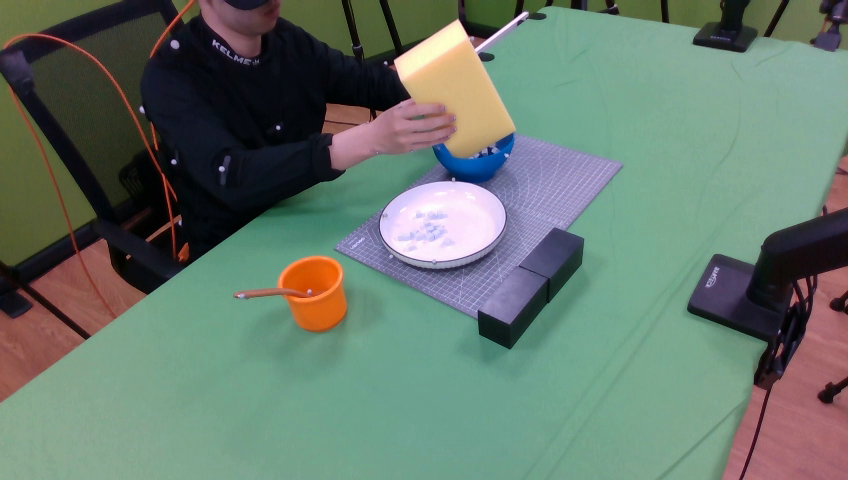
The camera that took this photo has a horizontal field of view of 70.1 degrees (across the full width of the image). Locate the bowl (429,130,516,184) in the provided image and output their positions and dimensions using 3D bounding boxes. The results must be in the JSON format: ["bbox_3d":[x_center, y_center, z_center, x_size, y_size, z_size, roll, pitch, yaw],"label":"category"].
[{"bbox_3d":[0.089,-0.154,1.089,0.151,0.077,0.150,-4,40,4],"label":"bowl"}]

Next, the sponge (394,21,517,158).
[{"bbox_3d":[0.055,-0.233,0.985,0.118,0.208,0.060,-28,49,12],"label":"sponge"}]

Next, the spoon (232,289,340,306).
[{"bbox_3d":[-0.181,0.074,0.811,0.041,0.195,0.021,16,90,31],"label":"spoon"}]

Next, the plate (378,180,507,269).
[{"bbox_3d":[0.031,-0.022,0.974,0.209,0.038,0.208,-4,40,4],"label":"plate"}]
